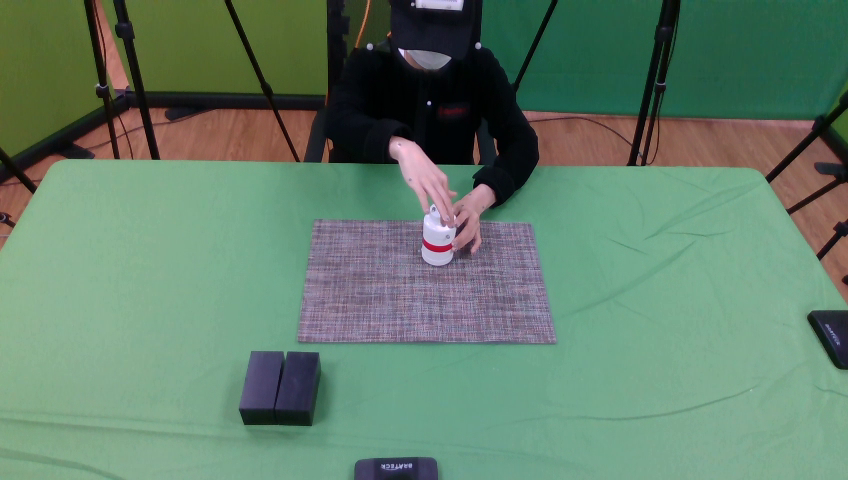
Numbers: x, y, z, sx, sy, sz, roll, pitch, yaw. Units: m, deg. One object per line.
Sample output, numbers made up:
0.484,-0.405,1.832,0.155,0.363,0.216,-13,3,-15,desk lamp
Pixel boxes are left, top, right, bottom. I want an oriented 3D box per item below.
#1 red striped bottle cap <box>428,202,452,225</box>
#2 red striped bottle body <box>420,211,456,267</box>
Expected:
0.030,-0.050,1.101,0.044,0.018,0.044,1,49,-1,red striped bottle cap
0.027,-0.011,1.139,0.063,0.120,0.062,3,45,-2,red striped bottle body
